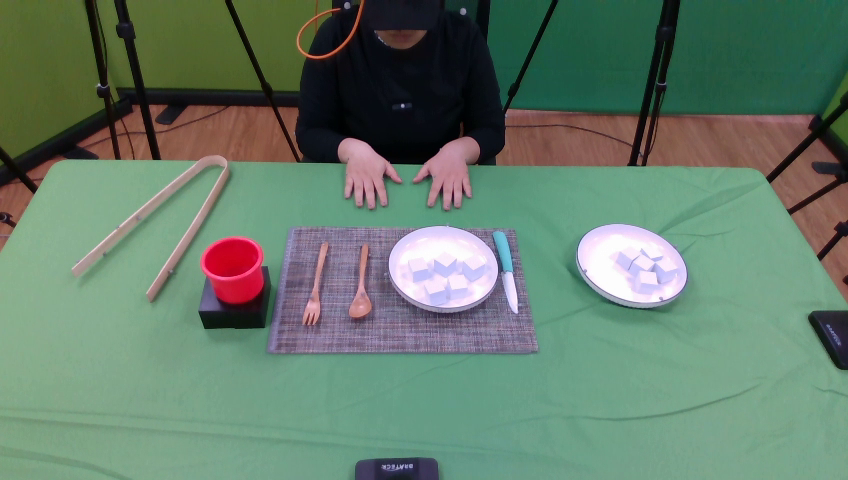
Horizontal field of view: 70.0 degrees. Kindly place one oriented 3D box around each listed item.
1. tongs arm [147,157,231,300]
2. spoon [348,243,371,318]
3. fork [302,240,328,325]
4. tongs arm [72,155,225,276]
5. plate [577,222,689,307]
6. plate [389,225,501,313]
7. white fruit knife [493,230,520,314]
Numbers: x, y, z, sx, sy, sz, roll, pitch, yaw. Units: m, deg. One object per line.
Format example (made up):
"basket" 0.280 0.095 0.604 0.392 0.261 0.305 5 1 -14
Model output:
"tongs arm" -0.453 -0.036 1.193 0.028 0.028 0.385 6 46 6
"spoon" -0.113 0.070 1.115 0.041 0.022 0.192 -11 45 10
"fork" -0.195 0.074 1.108 0.028 0.019 0.206 -1 48 4
"tongs arm" -0.531 -0.058 1.205 0.050 0.026 0.383 18 47 13
"plate" 0.396 0.050 1.165 0.209 0.038 0.208 2 47 -2
"plate" 0.038 0.057 1.129 0.208 0.039 0.206 2 46 -2
"white fruit knife" 0.160 0.057 1.154 0.027 0.016 0.206 -21 46 16
